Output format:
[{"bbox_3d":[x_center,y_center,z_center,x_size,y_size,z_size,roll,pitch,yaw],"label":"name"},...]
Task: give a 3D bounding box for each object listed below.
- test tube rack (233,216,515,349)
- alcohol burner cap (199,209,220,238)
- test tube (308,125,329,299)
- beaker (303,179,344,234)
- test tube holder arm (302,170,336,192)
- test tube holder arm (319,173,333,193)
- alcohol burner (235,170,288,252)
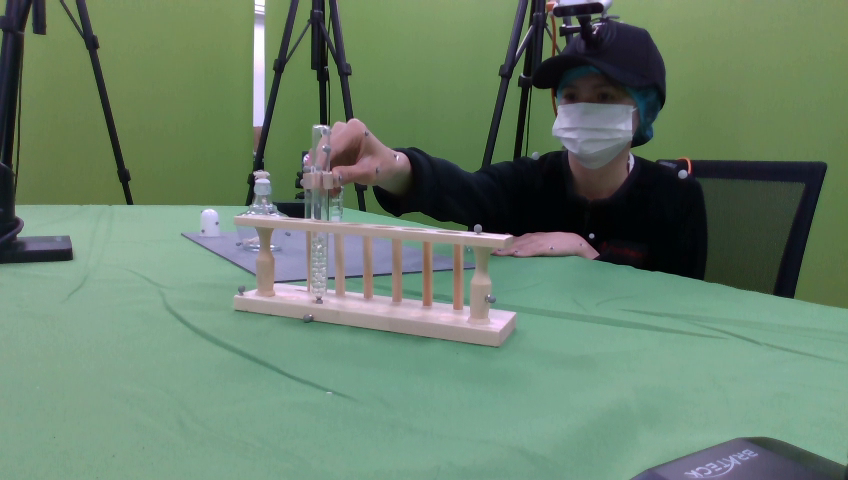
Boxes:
[{"bbox_3d":[-0.045,0.029,0.526,0.241,0.085,0.067,5,8,19],"label":"test tube rack"},{"bbox_3d":[-0.356,-0.027,1.002,0.034,0.048,0.034,3,7,0],"label":"alcohol burner cap"},{"bbox_3d":[-0.091,-0.023,0.521,0.017,0.150,0.017,2,5,0],"label":"test tube"},{"bbox_3d":[-0.189,-0.063,1.119,0.073,0.100,0.084,6,9,28],"label":"beaker"},{"bbox_3d":[-0.099,-0.059,0.586,0.013,0.015,0.178,8,8,-5],"label":"test tube holder arm"},{"bbox_3d":[-0.089,-0.052,0.542,0.010,0.015,0.087,7,8,-12],"label":"test tube holder arm"},{"bbox_3d":[-0.236,-0.042,0.882,0.078,0.119,0.078,2,9,0],"label":"alcohol burner"}]
